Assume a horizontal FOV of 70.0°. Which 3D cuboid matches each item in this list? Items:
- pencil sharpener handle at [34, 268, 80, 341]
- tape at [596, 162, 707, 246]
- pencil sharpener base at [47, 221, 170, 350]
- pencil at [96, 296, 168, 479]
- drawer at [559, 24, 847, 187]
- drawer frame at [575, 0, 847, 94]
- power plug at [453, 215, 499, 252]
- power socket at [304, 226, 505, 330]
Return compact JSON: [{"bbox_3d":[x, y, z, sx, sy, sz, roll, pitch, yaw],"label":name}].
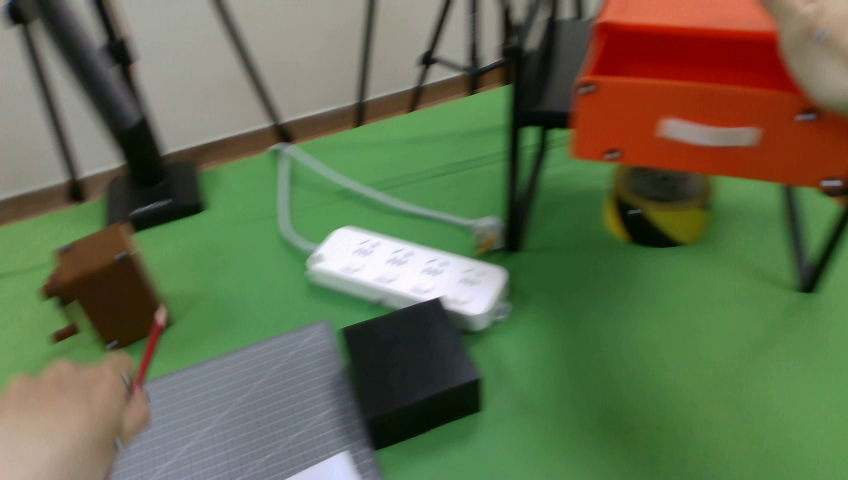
[{"bbox_3d":[-0.356,0.063,0.576,0.031,0.068,0.035,-27,25,-21],"label":"pencil sharpener handle"},{"bbox_3d":[0.257,-0.050,0.689,0.117,0.053,0.115,-3,43,3],"label":"tape"},{"bbox_3d":[-0.316,0.048,0.608,0.077,0.108,0.060,-27,46,-21],"label":"pencil sharpener base"},{"bbox_3d":[-0.205,0.125,0.413,0.012,0.012,0.192,2,59,9],"label":"pencil"},{"bbox_3d":[0.228,-0.141,0.506,0.194,0.074,0.210,9,43,17],"label":"drawer"},{"bbox_3d":[0.256,-0.204,0.568,0.201,0.083,0.212,8,44,17],"label":"drawer frame"},{"bbox_3d":[0.055,-0.003,0.689,0.072,0.035,0.052,-21,19,48],"label":"power plug"},{"bbox_3d":[-0.024,0.036,0.642,0.225,0.033,0.072,14,45,22],"label":"power socket"}]
